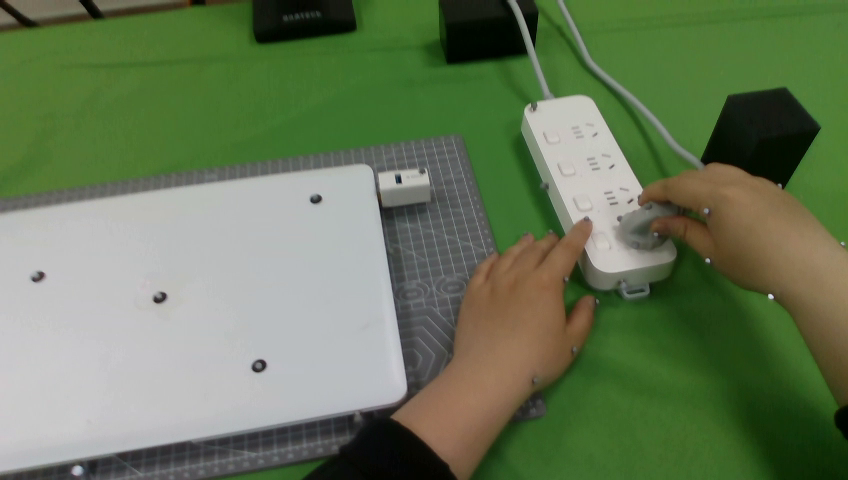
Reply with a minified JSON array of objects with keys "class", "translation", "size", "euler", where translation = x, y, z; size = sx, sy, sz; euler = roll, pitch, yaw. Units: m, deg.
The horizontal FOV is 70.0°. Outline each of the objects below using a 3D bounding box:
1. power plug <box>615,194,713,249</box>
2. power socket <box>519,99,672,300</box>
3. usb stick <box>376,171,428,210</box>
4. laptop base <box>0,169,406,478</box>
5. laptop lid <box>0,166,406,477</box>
[{"class":"power plug","translation":[0.190,-0.009,0.482],"size":[0.072,0.053,0.035],"euler":[1,52,1]},{"class":"power socket","translation":[0.146,-0.048,0.541],"size":[0.072,0.033,0.224],"euler":[-9,51,-6]},{"class":"usb stick","translation":[-0.026,-0.043,0.538],"size":[0.059,0.027,0.021],"euler":[-10,51,-1]},{"class":"laptop base","translation":[-0.203,0.055,0.483],"size":[0.355,0.023,0.233],"euler":[-9,55,-5]},{"class":"laptop lid","translation":[-0.203,0.049,0.472],"size":[0.357,0.013,0.239],"euler":[-8,54,-4]}]
